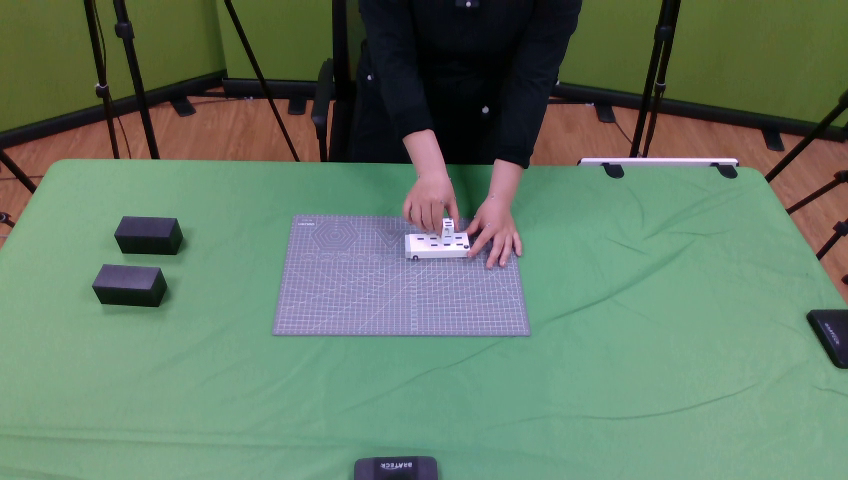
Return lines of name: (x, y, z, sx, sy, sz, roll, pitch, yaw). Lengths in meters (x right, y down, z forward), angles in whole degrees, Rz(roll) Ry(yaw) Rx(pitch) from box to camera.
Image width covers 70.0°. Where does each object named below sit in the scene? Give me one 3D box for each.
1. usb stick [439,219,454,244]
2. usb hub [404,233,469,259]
usb stick: (0.043, -0.011, 1.165, 0.021, 0.059, 0.027, -1, 47, -9)
usb hub: (0.024, 0.013, 1.181, 0.125, 0.025, 0.049, -1, 46, -5)
